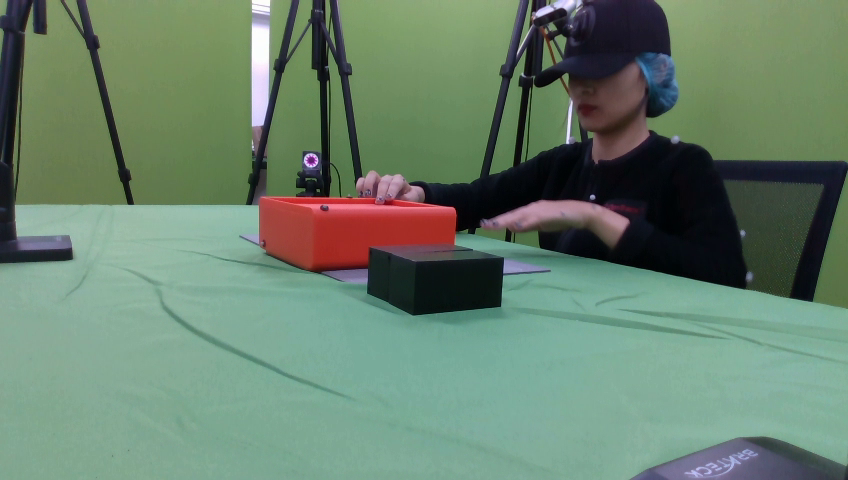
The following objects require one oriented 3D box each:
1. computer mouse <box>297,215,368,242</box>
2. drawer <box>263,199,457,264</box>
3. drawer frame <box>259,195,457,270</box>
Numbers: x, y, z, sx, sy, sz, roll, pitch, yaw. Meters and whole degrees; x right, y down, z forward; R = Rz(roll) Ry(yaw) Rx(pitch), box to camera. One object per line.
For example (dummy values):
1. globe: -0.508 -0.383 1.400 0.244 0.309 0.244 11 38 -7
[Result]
1. computer mouse: -0.155 -0.021 1.032 0.118 0.041 0.062 -9 14 -39
2. drawer: -0.093 -0.017 0.846 0.213 0.073 0.193 -3 10 -33
3. drawer frame: -0.095 -0.018 0.845 0.215 0.082 0.200 -3 10 -34
